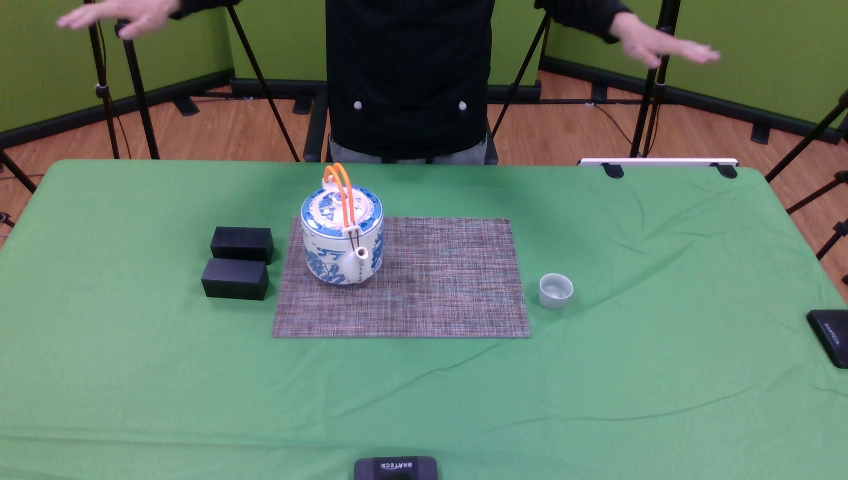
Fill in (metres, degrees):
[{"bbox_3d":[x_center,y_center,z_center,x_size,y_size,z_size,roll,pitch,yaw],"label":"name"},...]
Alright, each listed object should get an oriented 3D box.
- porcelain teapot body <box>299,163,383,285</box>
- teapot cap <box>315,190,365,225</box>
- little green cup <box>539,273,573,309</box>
[{"bbox_3d":[-0.134,-0.014,1.056,0.145,0.226,0.204,-16,50,-19],"label":"porcelain teapot body"},{"bbox_3d":[-0.145,-0.061,1.046,0.085,0.044,0.084,1,48,-1],"label":"teapot cap"},{"bbox_3d":[0.240,0.096,1.113,0.061,0.039,0.061,2,47,-2],"label":"little green cup"}]
